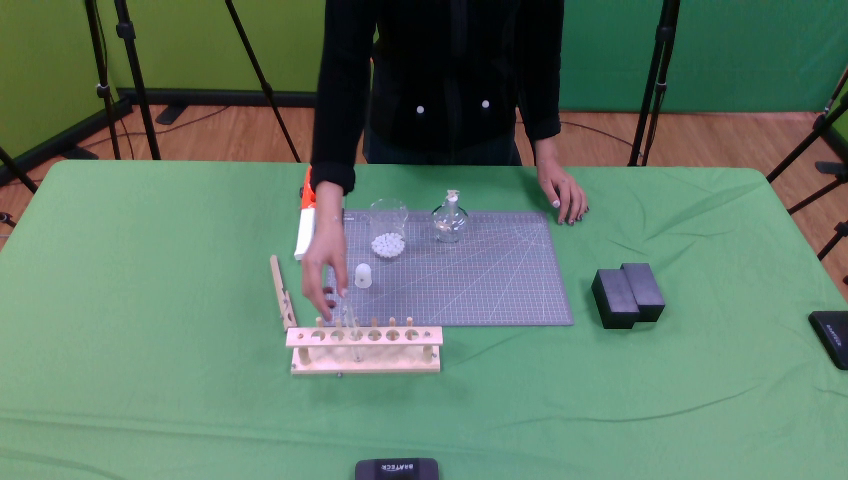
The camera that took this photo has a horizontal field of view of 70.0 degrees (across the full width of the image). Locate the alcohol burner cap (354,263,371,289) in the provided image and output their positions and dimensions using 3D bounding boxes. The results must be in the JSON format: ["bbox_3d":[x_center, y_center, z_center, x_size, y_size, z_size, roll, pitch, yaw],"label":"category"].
[{"bbox_3d":[-0.113,0.063,1.111,0.034,0.048,0.033,2,45,-2],"label":"alcohol burner cap"}]

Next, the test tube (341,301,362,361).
[{"bbox_3d":[-0.111,0.144,0.939,0.017,0.151,0.017,-1,48,2],"label":"test tube"}]

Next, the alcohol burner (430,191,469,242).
[{"bbox_3d":[0.052,-0.053,1.185,0.078,0.119,0.077,2,48,-2],"label":"alcohol burner"}]

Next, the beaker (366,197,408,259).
[{"bbox_3d":[-0.068,-0.018,1.153,0.074,0.101,0.083,-25,54,-25],"label":"beaker"}]

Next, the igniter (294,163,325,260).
[{"bbox_3d":[-0.234,-0.067,1.243,0.057,0.025,0.274,-6,46,4],"label":"igniter"}]

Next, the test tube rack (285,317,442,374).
[{"bbox_3d":[-0.095,0.166,0.988,0.242,0.085,0.066,0,46,-4],"label":"test tube rack"}]

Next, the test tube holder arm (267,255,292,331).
[{"bbox_3d":[-0.261,0.091,1.092,0.013,0.015,0.177,15,34,-40],"label":"test tube holder arm"}]

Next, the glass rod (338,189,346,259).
[{"bbox_3d":[-0.166,-0.037,1.227,0.008,0.008,0.198,0,47,-4],"label":"glass rod"}]

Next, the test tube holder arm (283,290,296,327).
[{"bbox_3d":[-0.241,0.123,1.067,0.010,0.015,0.087,16,33,-39],"label":"test tube holder arm"}]
